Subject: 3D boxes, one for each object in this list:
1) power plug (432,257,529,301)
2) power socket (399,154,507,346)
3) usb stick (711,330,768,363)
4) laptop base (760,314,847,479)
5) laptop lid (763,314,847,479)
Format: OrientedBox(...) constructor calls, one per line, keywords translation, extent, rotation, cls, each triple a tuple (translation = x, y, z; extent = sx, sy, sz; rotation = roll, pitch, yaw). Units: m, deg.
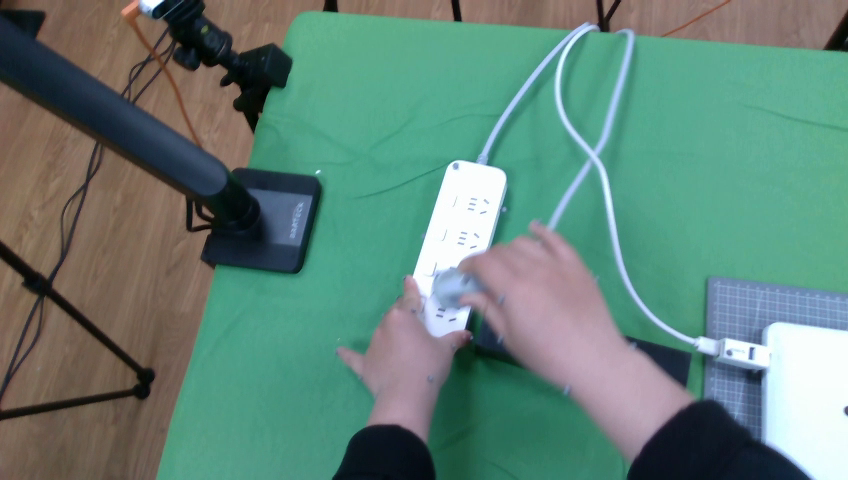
OrientedBox(translation=(0.043, 0.034, 0.491), extent=(0.073, 0.052, 0.035), rotation=(10, 73, -19), cls="power plug")
OrientedBox(translation=(0.034, 0.005, 0.669), extent=(0.072, 0.033, 0.225), rotation=(15, 72, 10), cls="power socket")
OrientedBox(translation=(0.320, 0.107, 0.601), extent=(0.059, 0.027, 0.021), rotation=(14, 71, -1), cls="usb stick")
OrientedBox(translation=(0.497, 0.208, 0.563), extent=(0.354, 0.023, 0.234), rotation=(8, 75, 8), cls="laptop base")
OrientedBox(translation=(0.496, 0.206, 0.552), extent=(0.356, 0.013, 0.240), rotation=(9, 74, 8), cls="laptop lid")
